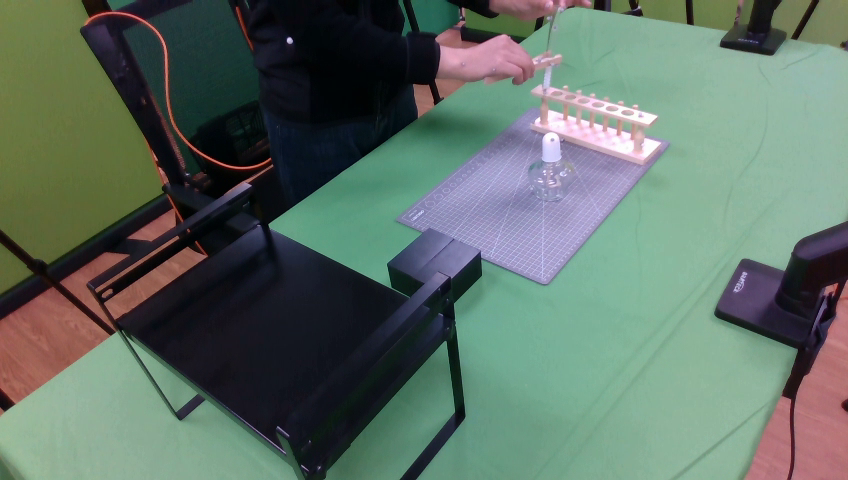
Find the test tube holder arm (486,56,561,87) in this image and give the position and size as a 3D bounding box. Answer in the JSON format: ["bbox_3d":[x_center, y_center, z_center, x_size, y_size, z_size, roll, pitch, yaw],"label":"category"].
[{"bbox_3d":[0.175,-0.295,1.052,0.179,0.015,0.013,-26,43,-32],"label":"test tube holder arm"}]

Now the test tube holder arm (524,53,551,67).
[{"bbox_3d":[0.203,-0.315,1.081,0.010,0.015,0.088,24,42,28],"label":"test tube holder arm"}]

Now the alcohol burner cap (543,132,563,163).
[{"bbox_3d":[0.211,-0.154,0.994,0.034,0.048,0.033,-7,35,6],"label":"alcohol burner cap"}]

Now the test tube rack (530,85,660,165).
[{"bbox_3d":[0.320,-0.226,1.140,0.240,0.085,0.067,27,51,34],"label":"test tube rack"}]

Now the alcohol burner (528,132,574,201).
[{"bbox_3d":[0.214,-0.126,1.016,0.078,0.119,0.077,-5,39,5],"label":"alcohol burner"}]

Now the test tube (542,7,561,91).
[{"bbox_3d":[0.227,-0.340,1.085,0.017,0.150,0.017,1,36,0],"label":"test tube"}]
